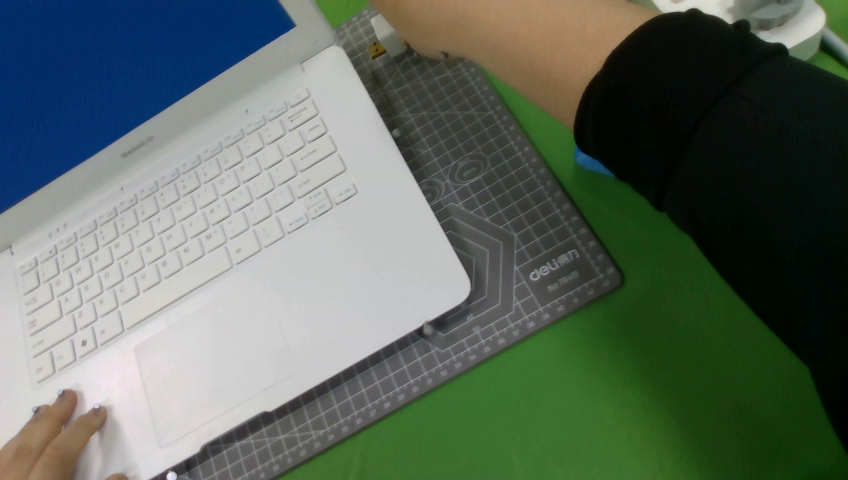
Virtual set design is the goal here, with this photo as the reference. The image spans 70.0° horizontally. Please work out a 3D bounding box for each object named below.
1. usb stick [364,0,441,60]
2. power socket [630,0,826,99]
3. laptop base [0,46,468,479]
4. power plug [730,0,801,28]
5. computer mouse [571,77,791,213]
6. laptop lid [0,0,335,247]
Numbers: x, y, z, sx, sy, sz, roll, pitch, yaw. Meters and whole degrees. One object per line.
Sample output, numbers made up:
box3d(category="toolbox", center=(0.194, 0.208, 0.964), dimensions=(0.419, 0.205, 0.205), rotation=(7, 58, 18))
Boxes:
box3d(category="usb stick", center=(-0.020, -0.152, 0.438), dimensions=(0.059, 0.027, 0.021), rotation=(-27, 66, 14))
box3d(category="power socket", center=(0.167, -0.184, 0.398), dimensions=(0.072, 0.033, 0.224), rotation=(-28, 63, 7))
box3d(category="laptop base", center=(-0.167, 0.029, 0.436), dimensions=(0.354, 0.023, 0.233), rotation=(-30, 66, 5))
box3d(category="power plug", center=(0.214, -0.145, 0.345), dimensions=(0.072, 0.053, 0.035), rotation=(-19, 67, 10))
box3d(category="computer mouse", center=(0.146, -0.061, 0.355), dimensions=(0.116, 0.041, 0.062), rotation=(22, 80, 30))
box3d(category="laptop lid", center=(-0.261, -0.126, 0.397), dimensions=(0.356, 0.244, 0.013), rotation=(-31, 50, 6))
